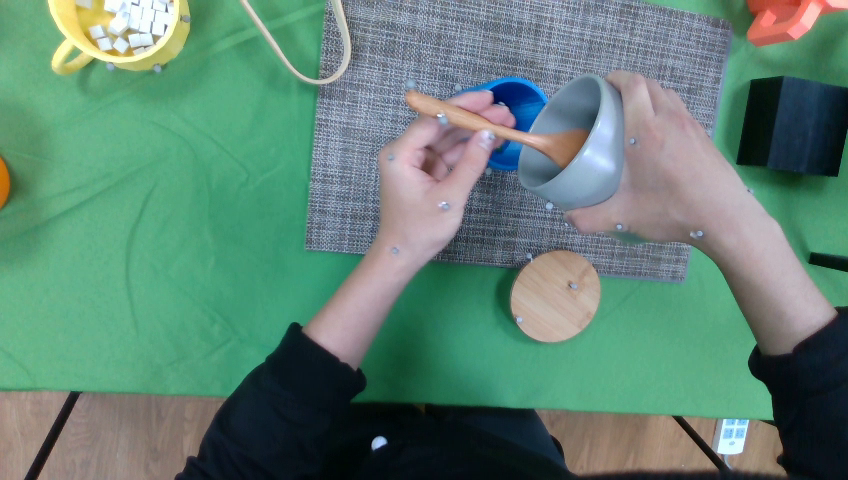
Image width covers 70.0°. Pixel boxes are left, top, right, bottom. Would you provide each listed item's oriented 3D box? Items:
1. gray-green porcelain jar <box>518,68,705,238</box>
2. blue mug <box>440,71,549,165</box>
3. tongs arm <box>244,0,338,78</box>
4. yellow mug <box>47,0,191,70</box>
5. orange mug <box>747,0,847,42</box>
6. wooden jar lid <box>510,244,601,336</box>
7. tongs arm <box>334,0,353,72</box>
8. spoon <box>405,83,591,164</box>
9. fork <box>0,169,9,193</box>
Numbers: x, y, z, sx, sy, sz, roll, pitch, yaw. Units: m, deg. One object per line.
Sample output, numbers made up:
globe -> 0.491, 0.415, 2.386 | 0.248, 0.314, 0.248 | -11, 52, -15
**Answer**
gray-green porcelain jar -> 0.161, -0.067, 0.513 | 0.127, 0.105, 0.106 | 25, 94, -21
blue mug -> 0.081, -0.108, 0.594 | 0.117, 0.105, 0.082 | 32, 92, -17
tongs arm -> -0.195, -0.305, 0.511 | 0.051, 0.026, 0.388 | -34, 113, -9
yellow mug -> -0.269, -0.193, 0.520 | 0.131, 0.063, 0.100 | -45, 107, -1
orange mug -> 0.405, -0.274, 0.647 | 0.084, 0.100, 0.126 | 29, 88, -16
wooden jar lid -> 0.148, 0.056, 0.687 | 0.108, 0.020, 0.109 | -3, 104, -11
tongs arm -> -0.122, -0.344, 0.524 | 0.028, 0.027, 0.390 | -22, 111, -17
spoon -> 0.067, -0.083, 0.455 | 0.195, 0.021, 0.041 | 9, 94, -30
fork -> -0.434, -0.065, 0.461 | 0.209, 0.018, 0.028 | 12, 99, -59
